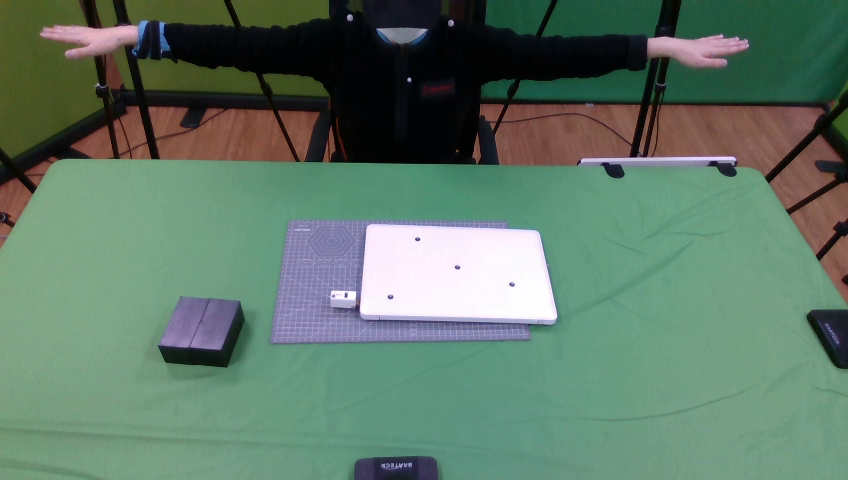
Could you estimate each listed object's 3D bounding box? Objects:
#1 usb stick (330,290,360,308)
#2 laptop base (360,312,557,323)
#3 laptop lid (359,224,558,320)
[{"bbox_3d":[-0.135,0.105,1.068,0.059,0.027,0.021,6,44,-6],"label":"usb stick"},{"bbox_3d":[0.061,0.063,1.145,0.354,0.023,0.234,2,43,-3],"label":"laptop base"},{"bbox_3d":[0.062,0.053,1.138,0.357,0.013,0.240,3,44,-2],"label":"laptop lid"}]
